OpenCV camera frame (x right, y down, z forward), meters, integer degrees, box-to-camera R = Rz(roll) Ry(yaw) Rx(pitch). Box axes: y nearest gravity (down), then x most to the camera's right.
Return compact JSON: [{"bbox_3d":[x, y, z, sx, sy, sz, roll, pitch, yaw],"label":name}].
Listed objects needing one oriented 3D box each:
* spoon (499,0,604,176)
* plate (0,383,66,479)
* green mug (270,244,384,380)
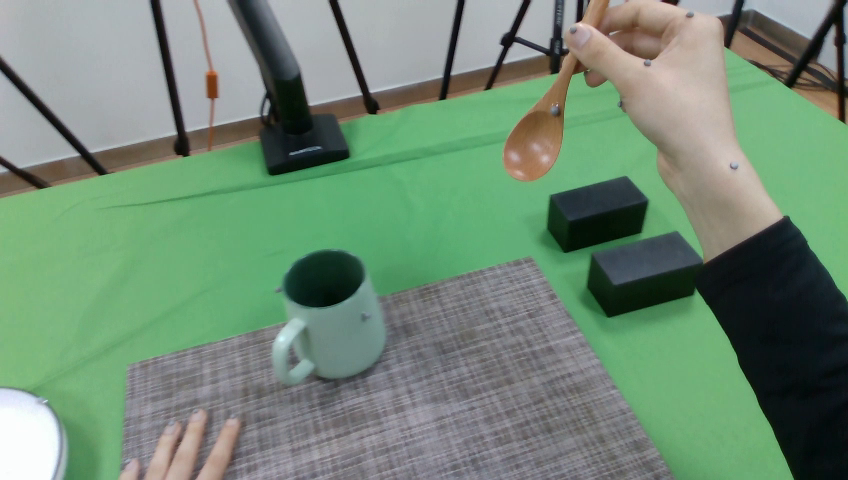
[{"bbox_3d":[0.105,-0.135,0.426,0.041,0.194,0.021,28,20,13],"label":"spoon"},{"bbox_3d":[-0.408,0.217,0.511,0.209,0.038,0.207,-2,43,3],"label":"plate"},{"bbox_3d":[-0.097,0.078,0.575,0.092,0.106,0.125,20,49,24],"label":"green mug"}]
